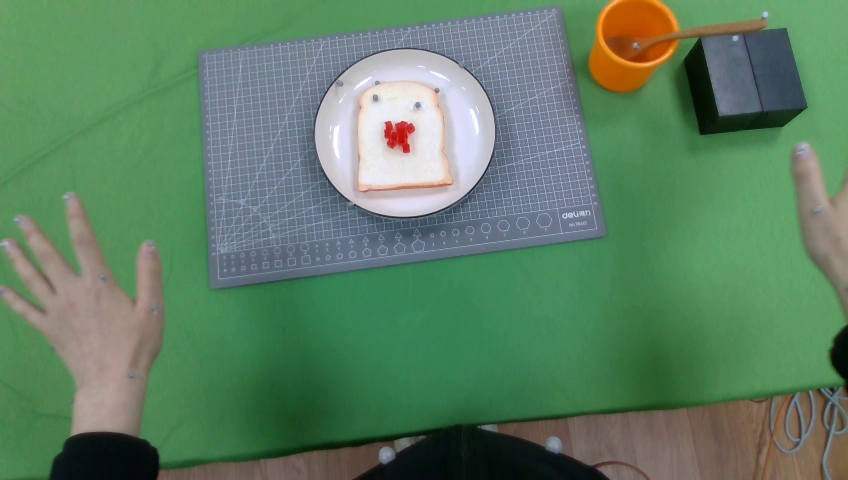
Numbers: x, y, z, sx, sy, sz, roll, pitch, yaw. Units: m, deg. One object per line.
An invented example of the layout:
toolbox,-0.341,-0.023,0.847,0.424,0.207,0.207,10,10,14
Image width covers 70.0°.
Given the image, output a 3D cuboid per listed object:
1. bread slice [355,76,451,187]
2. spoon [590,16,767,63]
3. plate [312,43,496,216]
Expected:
bread slice,-0.030,-0.125,0.699,0.107,0.018,0.133,-7,77,-2
spoon,0.270,-0.223,0.663,0.022,0.192,0.041,33,73,-37
plate,-0.022,-0.125,0.697,0.209,0.038,0.208,0,77,1
